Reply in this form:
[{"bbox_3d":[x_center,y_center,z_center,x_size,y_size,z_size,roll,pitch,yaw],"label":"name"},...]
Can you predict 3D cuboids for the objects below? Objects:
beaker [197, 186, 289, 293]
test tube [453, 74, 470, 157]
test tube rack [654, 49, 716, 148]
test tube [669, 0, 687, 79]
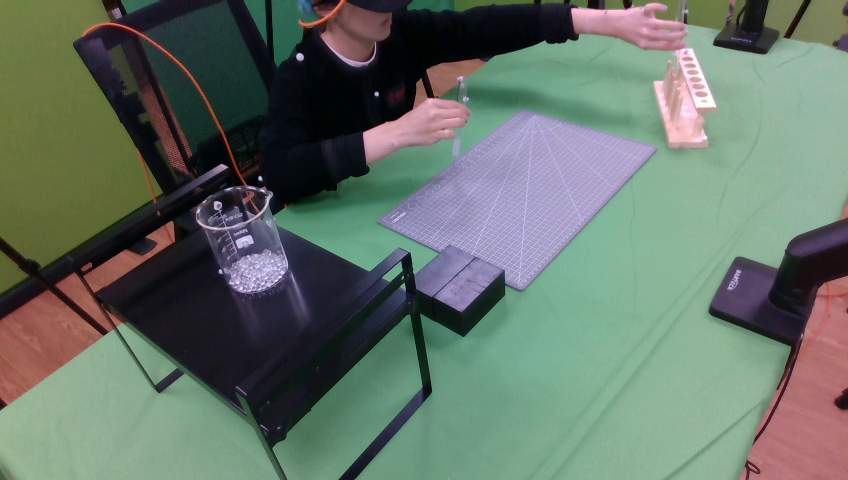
[{"bbox_3d":[-0.192,0.001,0.666,0.084,0.101,0.073,-32,47,-27],"label":"beaker"},{"bbox_3d":[0.064,-0.214,1.055,0.017,0.150,0.017,4,33,-2],"label":"test tube"},{"bbox_3d":[0.502,-0.281,1.176,0.066,0.085,0.241,2,41,11],"label":"test tube rack"},{"bbox_3d":[0.476,-0.379,1.134,0.017,0.151,0.017,-3,27,2],"label":"test tube"}]
